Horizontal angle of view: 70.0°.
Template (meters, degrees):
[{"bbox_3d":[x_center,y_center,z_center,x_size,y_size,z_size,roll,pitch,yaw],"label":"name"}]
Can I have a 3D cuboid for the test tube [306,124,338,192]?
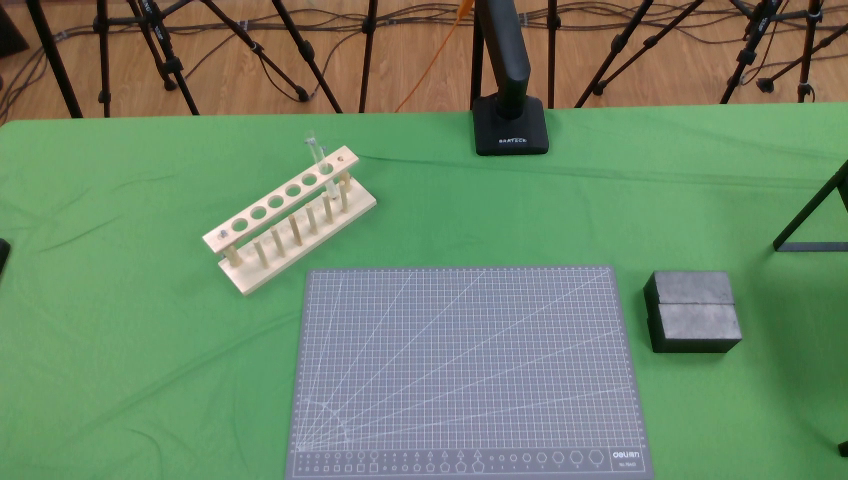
[{"bbox_3d":[-0.145,-0.113,0.870,0.017,0.151,0.017,-2,62,4],"label":"test tube"}]

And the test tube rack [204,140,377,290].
[{"bbox_3d":[-0.186,-0.038,0.882,0.242,0.086,0.066,-37,66,-20],"label":"test tube rack"}]
